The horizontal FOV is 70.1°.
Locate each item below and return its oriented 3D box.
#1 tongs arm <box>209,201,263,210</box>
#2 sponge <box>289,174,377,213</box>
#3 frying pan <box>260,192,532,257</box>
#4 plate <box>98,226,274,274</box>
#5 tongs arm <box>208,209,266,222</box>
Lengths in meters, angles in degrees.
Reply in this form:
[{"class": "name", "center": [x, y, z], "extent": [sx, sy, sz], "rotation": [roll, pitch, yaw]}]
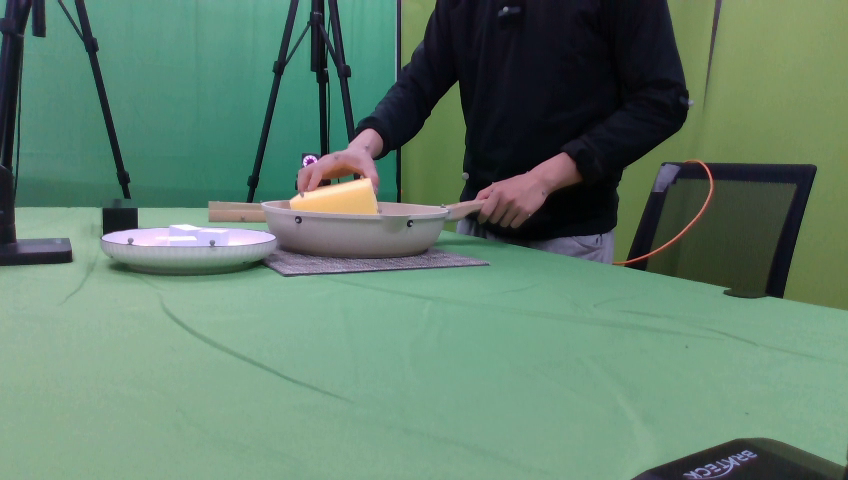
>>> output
[{"class": "tongs arm", "center": [-0.306, -0.071, 1.430], "extent": [0.386, 0.026, 0.050], "rotation": [1, 8, -15]}, {"class": "sponge", "center": [-0.137, -0.056, 0.957], "extent": [0.118, 0.061, 0.206], "rotation": [-13, 11, -3]}, {"class": "frying pan", "center": [-0.017, -0.043, 1.006], "extent": [0.490, 0.102, 0.305], "rotation": [-11, 13, -26]}, {"class": "plate", "center": [-0.301, 0.012, 0.778], "extent": [0.208, 0.039, 0.207], "rotation": [3, 7, 0]}, {"class": "tongs arm", "center": [-0.280, -0.056, 1.355], "extent": [0.389, 0.028, 0.028], "rotation": [-1, 6, -28]}]
